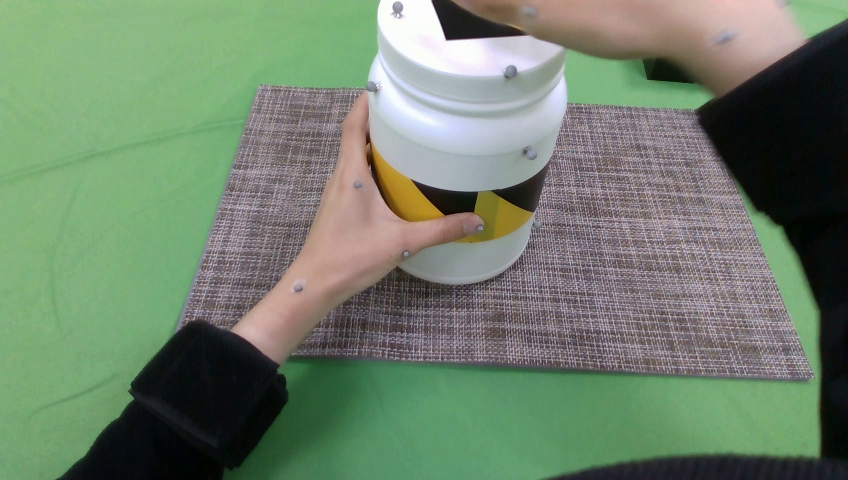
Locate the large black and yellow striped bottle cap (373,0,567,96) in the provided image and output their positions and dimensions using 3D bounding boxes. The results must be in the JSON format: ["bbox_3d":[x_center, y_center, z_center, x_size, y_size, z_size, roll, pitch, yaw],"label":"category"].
[{"bbox_3d":[0.027,-0.129,0.359,0.115,0.019,0.114,2,53,-3],"label":"large black and yellow striped bottle cap"}]

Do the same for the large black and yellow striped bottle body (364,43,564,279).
[{"bbox_3d":[0.024,-0.074,0.428,0.131,0.185,0.129,2,51,-2],"label":"large black and yellow striped bottle body"}]
